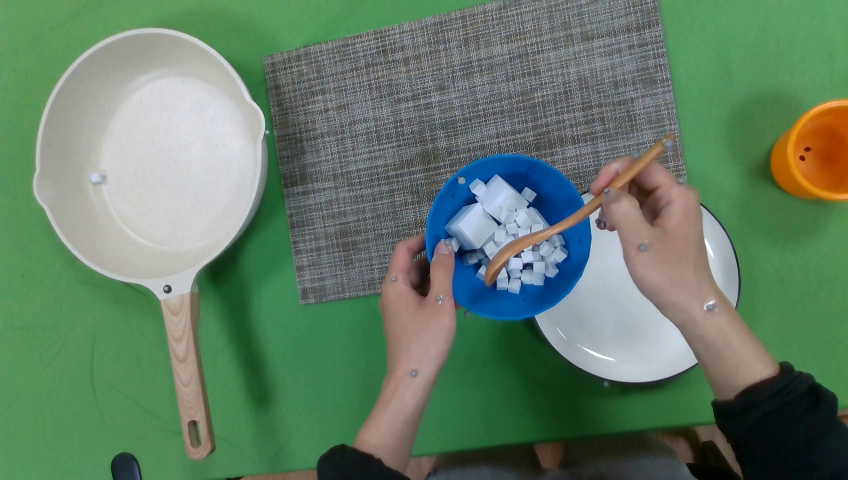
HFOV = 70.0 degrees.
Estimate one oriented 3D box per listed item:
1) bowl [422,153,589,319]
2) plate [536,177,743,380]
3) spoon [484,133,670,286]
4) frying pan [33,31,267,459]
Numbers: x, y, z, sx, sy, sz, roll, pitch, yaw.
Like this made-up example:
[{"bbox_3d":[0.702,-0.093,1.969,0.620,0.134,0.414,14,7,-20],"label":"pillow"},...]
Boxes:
[{"bbox_3d":[0.074,-0.005,0.579,0.151,0.077,0.151,0,94,0],"label":"bowl"},{"bbox_3d":[0.215,0.039,0.631,0.207,0.039,0.207,0,93,12],"label":"plate"},{"bbox_3d":[0.113,-0.018,0.475,0.194,0.041,0.021,-38,87,35],"label":"spoon"},{"bbox_3d":[-0.295,0.006,0.705,0.306,0.103,0.485,-14,79,12],"label":"frying pan"}]
